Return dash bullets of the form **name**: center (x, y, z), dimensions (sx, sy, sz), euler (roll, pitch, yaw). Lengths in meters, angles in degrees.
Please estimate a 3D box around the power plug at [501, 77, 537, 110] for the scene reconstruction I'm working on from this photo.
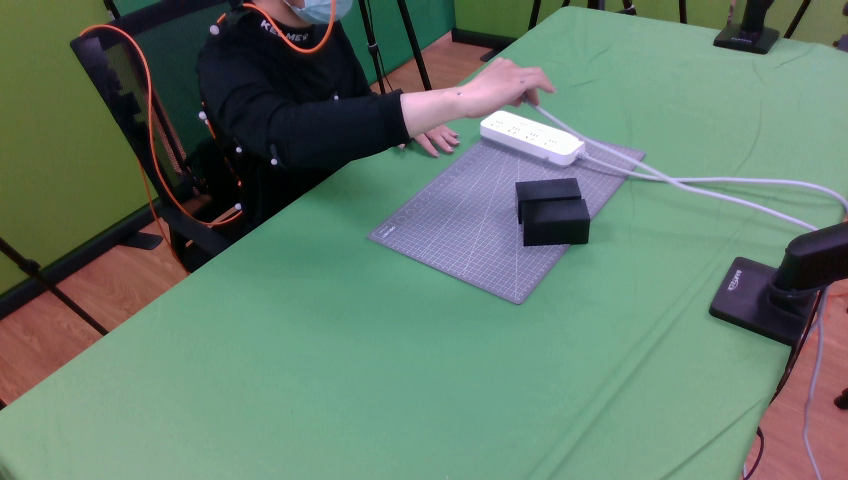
- **power plug**: center (0.150, -0.229, 0.974), dimensions (0.035, 0.053, 0.072), euler (-21, 83, -1)

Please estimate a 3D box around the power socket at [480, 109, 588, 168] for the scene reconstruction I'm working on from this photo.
- **power socket**: center (0.204, -0.197, 1.158), dimensions (0.225, 0.033, 0.072), euler (29, 55, 34)
